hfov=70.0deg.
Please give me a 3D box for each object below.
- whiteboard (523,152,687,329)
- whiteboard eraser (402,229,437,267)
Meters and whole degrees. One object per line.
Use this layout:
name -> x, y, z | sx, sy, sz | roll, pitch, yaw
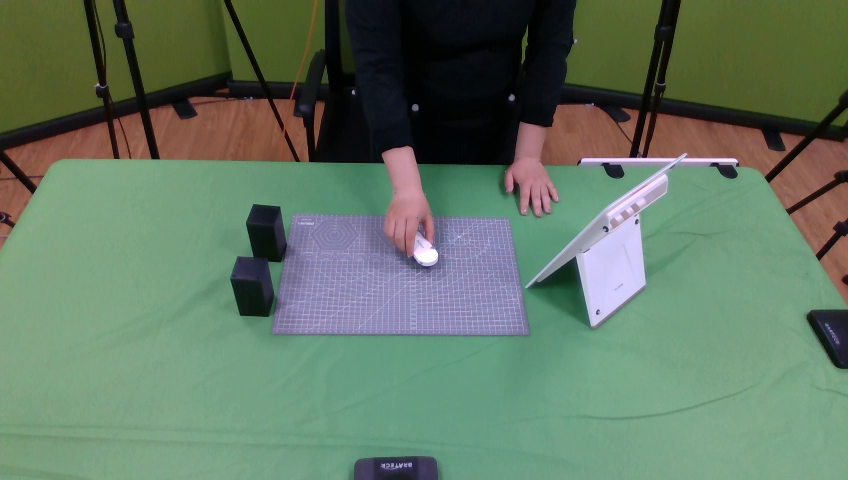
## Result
whiteboard -> 0.346, 0.025, 1.046 | 0.217, 0.306, 0.143 | -30, 74, -29
whiteboard eraser -> -0.009, 0.014, 1.161 | 0.041, 0.019, 0.100 | -20, 46, -19
